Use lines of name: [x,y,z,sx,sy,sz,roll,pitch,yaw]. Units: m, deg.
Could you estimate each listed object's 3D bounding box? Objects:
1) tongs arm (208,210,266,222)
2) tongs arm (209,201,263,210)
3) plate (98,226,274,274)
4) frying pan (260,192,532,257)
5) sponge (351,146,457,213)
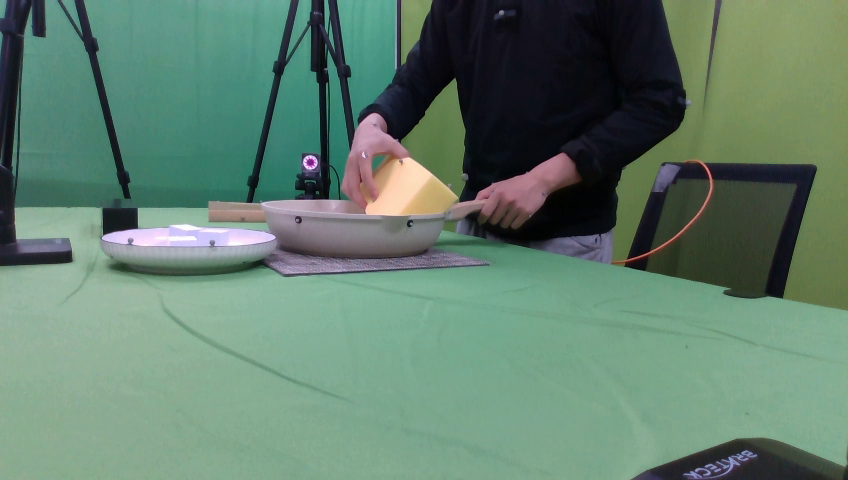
tongs arm: [-0.280,-0.055,1.355,0.389,0.028,0.028,-1,6,-28]
tongs arm: [-0.306,-0.070,1.430,0.386,0.026,0.050,2,8,-15]
plate: [-0.301,0.012,0.778,0.208,0.039,0.207,3,7,0]
frying pan: [-0.017,-0.043,1.006,0.490,0.102,0.305,-11,13,-26]
sponge: [-0.039,-0.073,0.990,0.061,0.118,0.206,39,3,-28]
